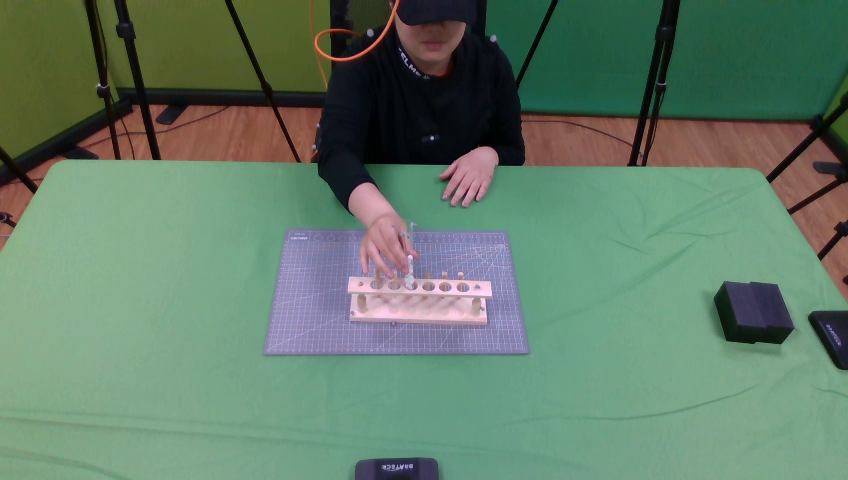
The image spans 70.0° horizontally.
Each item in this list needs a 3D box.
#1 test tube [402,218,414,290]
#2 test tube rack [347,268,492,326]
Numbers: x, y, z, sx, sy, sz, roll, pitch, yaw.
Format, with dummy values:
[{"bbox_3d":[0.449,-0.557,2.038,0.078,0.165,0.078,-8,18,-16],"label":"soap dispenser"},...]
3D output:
[{"bbox_3d":[-0.025,0.026,0.975,0.017,0.151,0.017,0,41,0],"label":"test tube"},{"bbox_3d":[-0.009,0.095,1.059,0.242,0.085,0.066,2,46,-2],"label":"test tube rack"}]
